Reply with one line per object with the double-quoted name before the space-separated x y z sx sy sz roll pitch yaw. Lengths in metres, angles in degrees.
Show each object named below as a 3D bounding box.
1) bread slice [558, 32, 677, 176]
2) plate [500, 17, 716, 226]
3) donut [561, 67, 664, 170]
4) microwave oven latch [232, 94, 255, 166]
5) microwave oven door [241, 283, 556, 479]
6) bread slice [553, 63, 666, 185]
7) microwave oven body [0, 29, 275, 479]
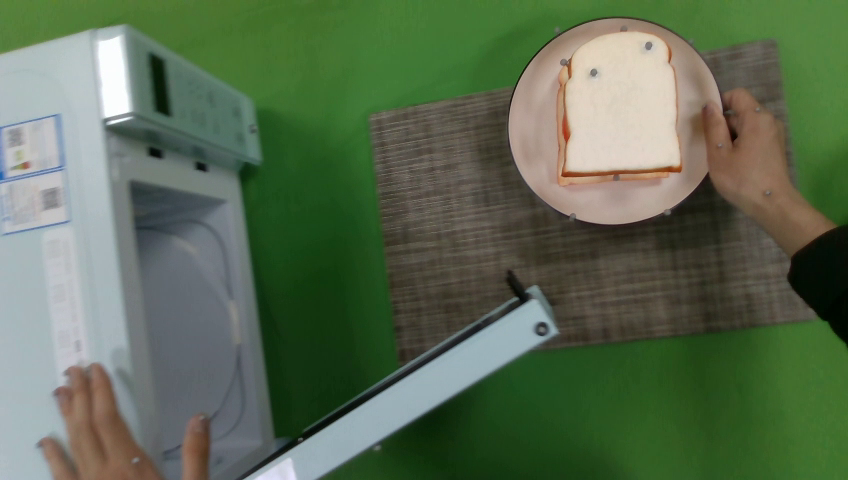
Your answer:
"bread slice" 0.175 -0.126 0.559 0.104 0.019 0.131 -3 87 14
"plate" 0.182 -0.116 0.615 0.207 0.039 0.207 0 89 8
"donut" 0.180 -0.116 0.583 0.099 0.048 0.099 0 92 -4
"microwave oven latch" -0.222 -0.129 0.713 0.030 0.029 0.079 -10 88 9
"microwave oven door" -0.035 0.155 0.571 0.356 0.244 0.039 -34 82 8
"bread slice" 0.180 -0.124 0.615 0.107 0.018 0.134 -7 88 8
"microwave oven body" -0.352 0.069 0.634 0.326 0.261 0.441 -11 87 9
